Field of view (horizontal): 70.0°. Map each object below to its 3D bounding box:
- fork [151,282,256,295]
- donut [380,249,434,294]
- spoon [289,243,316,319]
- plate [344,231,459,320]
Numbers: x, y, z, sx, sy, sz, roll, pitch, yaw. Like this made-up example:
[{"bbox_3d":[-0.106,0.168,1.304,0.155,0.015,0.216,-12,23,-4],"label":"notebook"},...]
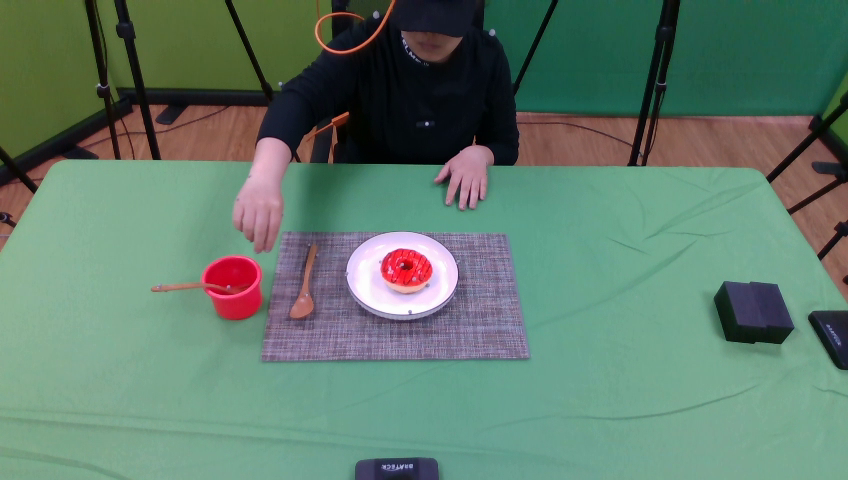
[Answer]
[{"bbox_3d":[-0.361,0.080,1.007,0.028,0.018,0.208,35,11,27],"label":"fork"},{"bbox_3d":[-0.032,0.056,1.111,0.099,0.048,0.098,3,43,-3],"label":"donut"},{"bbox_3d":[-0.215,0.071,1.108,0.041,0.022,0.192,-10,45,10],"label":"spoon"},{"bbox_3d":[-0.042,0.068,1.115,0.209,0.038,0.208,2,46,-2],"label":"plate"}]
